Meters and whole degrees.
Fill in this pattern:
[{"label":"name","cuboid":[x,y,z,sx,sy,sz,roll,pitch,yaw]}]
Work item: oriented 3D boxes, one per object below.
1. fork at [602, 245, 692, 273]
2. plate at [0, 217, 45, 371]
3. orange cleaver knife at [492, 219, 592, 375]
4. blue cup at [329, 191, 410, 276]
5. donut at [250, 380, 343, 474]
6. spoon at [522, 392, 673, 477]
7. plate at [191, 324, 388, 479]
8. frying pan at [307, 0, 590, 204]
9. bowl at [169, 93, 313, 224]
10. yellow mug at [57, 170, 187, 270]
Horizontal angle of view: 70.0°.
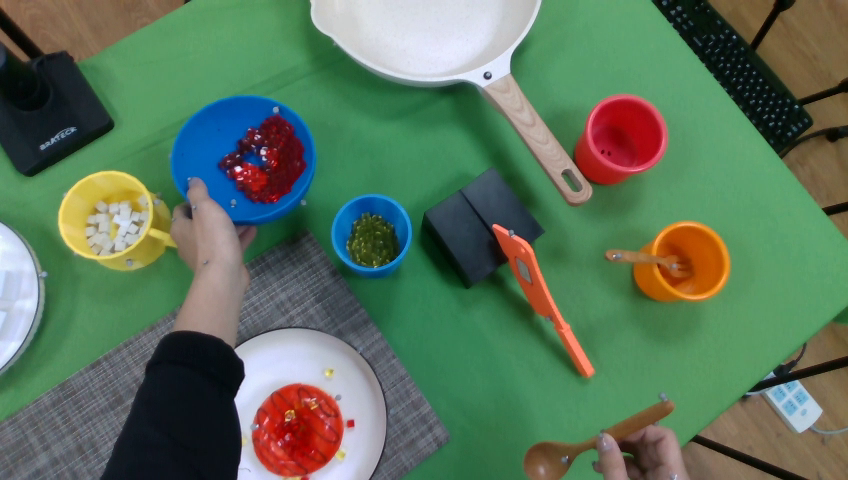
[{"label":"fork","cuboid":[0.254,0.020,0.678,0.209,0.018,0.028,8,72,-47]},{"label":"plate","cuboid":[-0.521,0.066,0.665,0.208,0.039,0.206,1,78,-4]},{"label":"orange cleaver knife","cuboid":[0.135,0.067,0.694,0.012,0.076,0.213,-35,111,-10]},{"label":"blue cup","cuboid":[-0.060,0.002,0.682,0.093,0.100,0.092,1,76,-4]},{"label":"donut","cuboid":[-0.137,0.200,0.652,0.099,0.048,0.098,1,81,-6]},{"label":"spoon","cuboid":[0.157,0.184,0.566,0.022,0.194,0.041,-19,70,-40]},{"label":"plate","cuboid":[-0.144,0.197,0.663,0.209,0.038,0.208,1,79,-4]},{"label":"frying pan","cuboid":[0.049,-0.240,0.739,0.307,0.103,0.484,-29,74,-9]},{"label":"bowl","cuboid":[-0.197,-0.079,0.682,0.151,0.077,0.150,2,71,-5]},{"label":"yellow mug","cuboid":[-0.331,-0.016,0.683,0.131,0.064,0.099,18,76,-1]}]
